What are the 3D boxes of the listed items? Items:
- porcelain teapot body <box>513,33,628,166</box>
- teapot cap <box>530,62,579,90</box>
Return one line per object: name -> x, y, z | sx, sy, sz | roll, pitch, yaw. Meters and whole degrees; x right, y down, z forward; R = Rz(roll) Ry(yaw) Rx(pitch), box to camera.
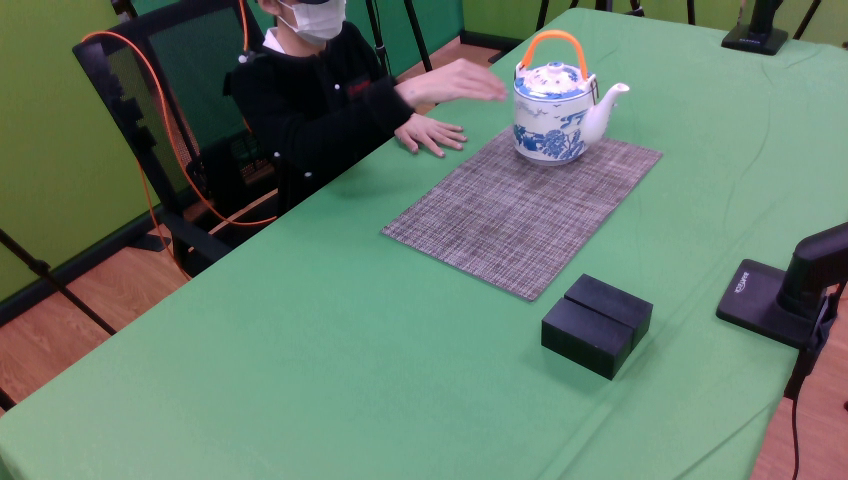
porcelain teapot body -> 0.256, -0.248, 1.065 | 0.204, 0.226, 0.145 | 18, 47, 28
teapot cap -> 0.228, -0.286, 1.054 | 0.085, 0.044, 0.085 | -3, 40, 3
